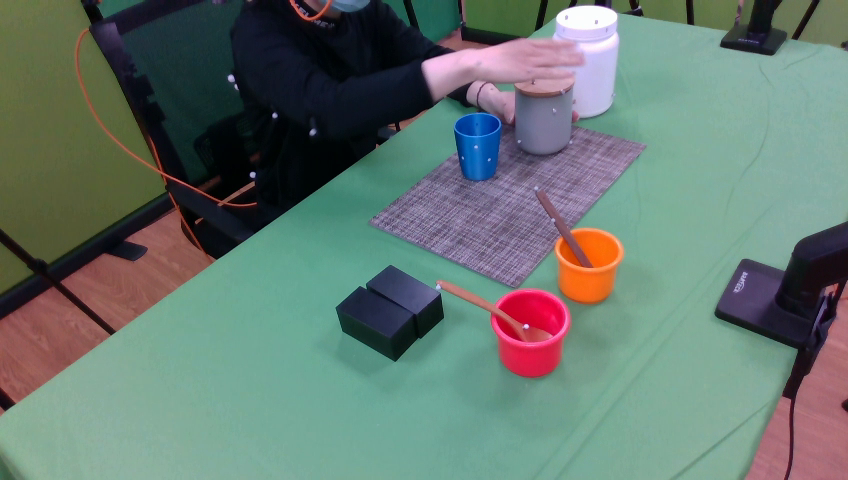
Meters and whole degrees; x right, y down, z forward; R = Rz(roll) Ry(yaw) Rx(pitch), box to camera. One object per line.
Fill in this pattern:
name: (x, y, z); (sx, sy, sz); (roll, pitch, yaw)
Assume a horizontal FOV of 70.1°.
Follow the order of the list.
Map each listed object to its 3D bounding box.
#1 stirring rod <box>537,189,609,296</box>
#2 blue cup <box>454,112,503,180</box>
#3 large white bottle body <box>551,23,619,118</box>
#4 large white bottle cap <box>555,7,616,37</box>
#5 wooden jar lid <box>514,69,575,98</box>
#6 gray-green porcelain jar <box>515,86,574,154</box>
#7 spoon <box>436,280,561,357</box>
stirring rod: (0.210, 0.003, 0.855); (0.014, 0.006, 0.176); (-32, 88, -30)
blue cup: (0.098, -0.166, 1.088); (0.092, 0.100, 0.092); (-3, 41, 3)
large white bottle body: (0.321, -0.355, 1.218); (0.130, 0.185, 0.130); (-4, 41, 4)
large white bottle cap: (0.311, -0.420, 1.163); (0.115, 0.018, 0.114); (-4, 40, 4)
wooden jar lid: (0.216, -0.279, 1.088); (0.108, 0.021, 0.108); (-3, 38, 3)
gray-green porcelain jar: (0.223, -0.233, 1.129); (0.106, 0.127, 0.105); (-4, 40, 4)
spoon: (0.095, 0.095, 0.757); (0.195, 0.021, 0.041); (34, 43, -20)
